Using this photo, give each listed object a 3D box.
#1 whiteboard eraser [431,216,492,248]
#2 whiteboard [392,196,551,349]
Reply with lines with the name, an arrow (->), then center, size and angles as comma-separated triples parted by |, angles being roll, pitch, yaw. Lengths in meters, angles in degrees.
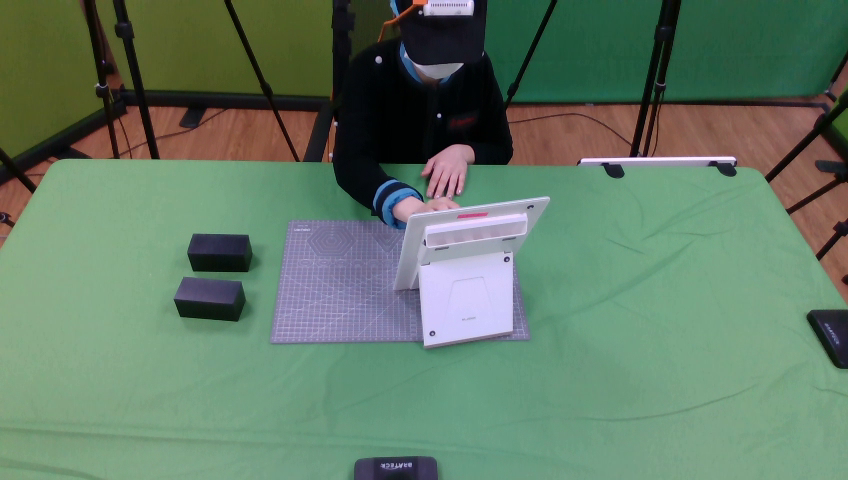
whiteboard eraser -> 0.059, -0.012, 0.968 | 0.101, 0.041, 0.018 | -21, 65, 20
whiteboard -> 0.077, 0.071, 0.977 | 0.217, 0.306, 0.143 | -7, 67, -11
